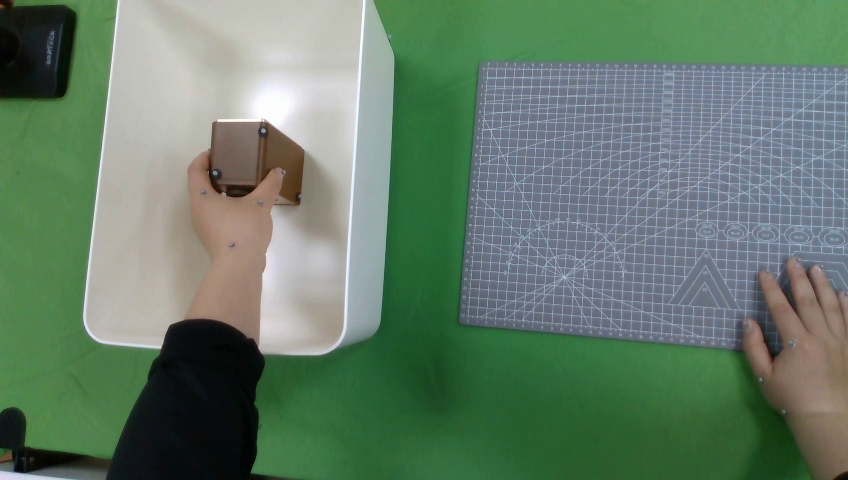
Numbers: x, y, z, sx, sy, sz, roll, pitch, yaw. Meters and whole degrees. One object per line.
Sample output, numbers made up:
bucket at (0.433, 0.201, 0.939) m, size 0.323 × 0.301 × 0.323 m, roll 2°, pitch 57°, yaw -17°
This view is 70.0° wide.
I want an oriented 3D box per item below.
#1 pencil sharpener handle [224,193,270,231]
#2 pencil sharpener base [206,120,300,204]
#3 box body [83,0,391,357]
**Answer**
pencil sharpener handle at (-0.184, -0.029, 0.640) m, size 0.036 × 0.068 × 0.030 m, roll 0°, pitch 84°, yaw 18°
pencil sharpener base at (-0.182, -0.078, 0.658) m, size 0.061 × 0.107 × 0.076 m, roll 1°, pitch 84°, yaw 10°
box body at (-0.174, -0.070, 0.634) m, size 0.254 × 0.161 × 0.363 m, roll 1°, pitch 83°, yaw 9°
